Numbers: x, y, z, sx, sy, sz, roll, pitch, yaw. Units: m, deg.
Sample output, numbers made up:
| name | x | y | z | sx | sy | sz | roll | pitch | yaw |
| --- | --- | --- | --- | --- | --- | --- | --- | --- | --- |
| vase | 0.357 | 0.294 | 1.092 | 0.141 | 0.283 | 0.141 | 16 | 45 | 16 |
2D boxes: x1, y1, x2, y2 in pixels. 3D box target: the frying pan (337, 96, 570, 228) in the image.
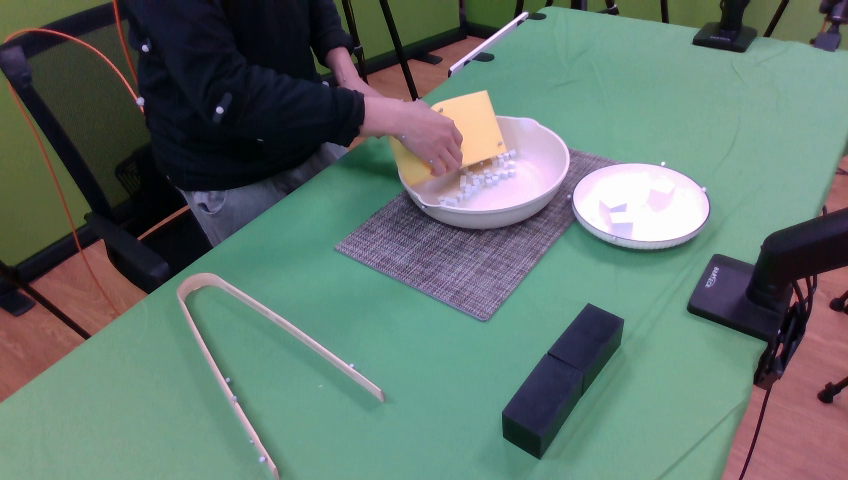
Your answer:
| name | x | y | z | sx | sy | sz | roll | pitch | yaw |
| --- | --- | --- | --- | --- | --- | --- | --- | --- | --- |
| frying pan | 0.023 | -0.167 | 1.090 | 0.484 | 0.103 | 0.308 | 32 | 52 | 26 |

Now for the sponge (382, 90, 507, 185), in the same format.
| name | x | y | z | sx | sy | sz | roll | pitch | yaw |
| --- | --- | --- | --- | --- | --- | --- | --- | --- | --- |
| sponge | 0.040 | -0.180 | 1.056 | 0.208 | 0.118 | 0.060 | -24 | 5 | -36 |

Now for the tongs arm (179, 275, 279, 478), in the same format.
| name | x | y | z | sx | sy | sz | roll | pitch | yaw |
| --- | --- | --- | --- | --- | --- | --- | --- | --- | --- |
| tongs arm | -0.260 | 0.161 | 0.807 | 0.051 | 0.026 | 0.381 | -28 | 44 | -25 |

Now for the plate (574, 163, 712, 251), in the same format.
| name | x | y | z | sx | sy | sz | roll | pitch | yaw |
| --- | --- | --- | --- | --- | --- | --- | --- | --- | --- |
| plate | 0.344 | -0.050 | 0.966 | 0.207 | 0.039 | 0.206 | -4 | 40 | 4 |

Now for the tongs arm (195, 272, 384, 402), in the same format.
| name | x | y | z | sx | sy | sz | roll | pitch | yaw |
| --- | --- | --- | --- | --- | --- | --- | --- | --- | --- |
| tongs arm | -0.199 | 0.126 | 0.847 | 0.384 | 0.028 | 0.028 | 25 | 52 | 32 |
